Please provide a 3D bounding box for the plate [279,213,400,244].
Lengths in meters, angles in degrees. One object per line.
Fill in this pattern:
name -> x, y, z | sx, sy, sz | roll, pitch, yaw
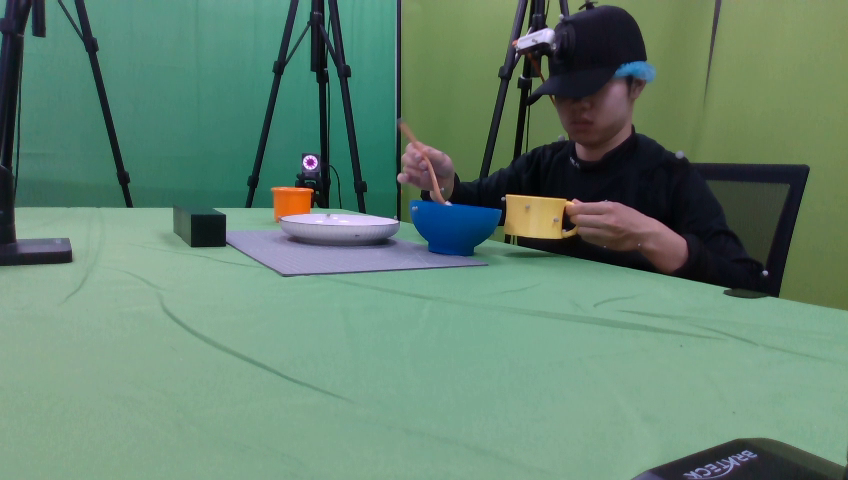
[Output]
plate -> -0.147, -0.020, 1.060 | 0.209, 0.038, 0.209 | 3, 7, 0

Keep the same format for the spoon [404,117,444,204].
spoon -> 0.008, -0.116, 0.982 | 0.021, 0.193, 0.041 | -21, -11, 2

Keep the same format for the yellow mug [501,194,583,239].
yellow mug -> 0.195, -0.039, 0.991 | 0.131, 0.064, 0.100 | 5, 6, 1

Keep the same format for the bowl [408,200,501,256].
bowl -> 0.045, -0.019, 0.968 | 0.151, 0.077, 0.151 | 6, 5, 0
